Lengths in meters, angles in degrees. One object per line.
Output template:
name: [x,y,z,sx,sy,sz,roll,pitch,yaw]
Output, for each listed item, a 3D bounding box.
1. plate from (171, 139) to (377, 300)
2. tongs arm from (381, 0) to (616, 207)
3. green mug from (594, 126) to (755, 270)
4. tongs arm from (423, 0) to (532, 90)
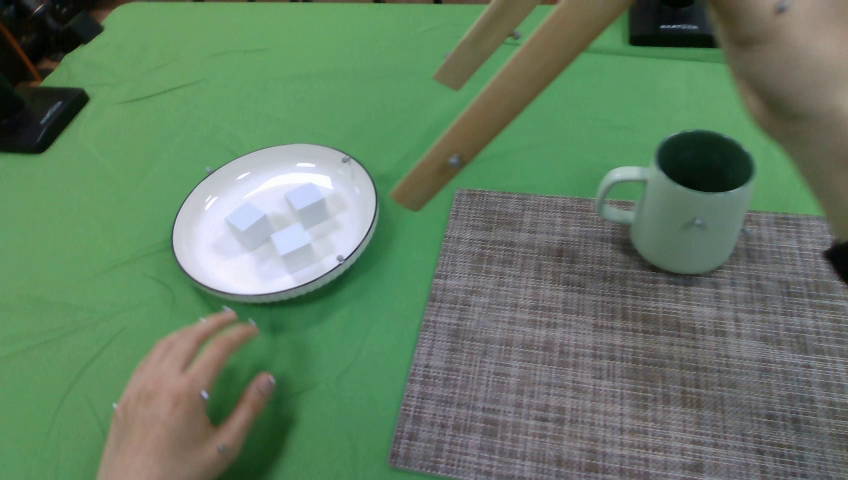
plate: [-0.148,-0.021,0.618,0.209,0.038,0.207,-3,51,4]
tongs arm: [0.074,-0.117,0.270,0.028,0.388,0.028,31,50,-13]
green mug: [0.215,-0.036,0.535,0.125,0.106,0.092,5,52,11]
tongs arm: [0.091,-0.170,0.302,0.027,0.385,0.050,29,59,-16]
